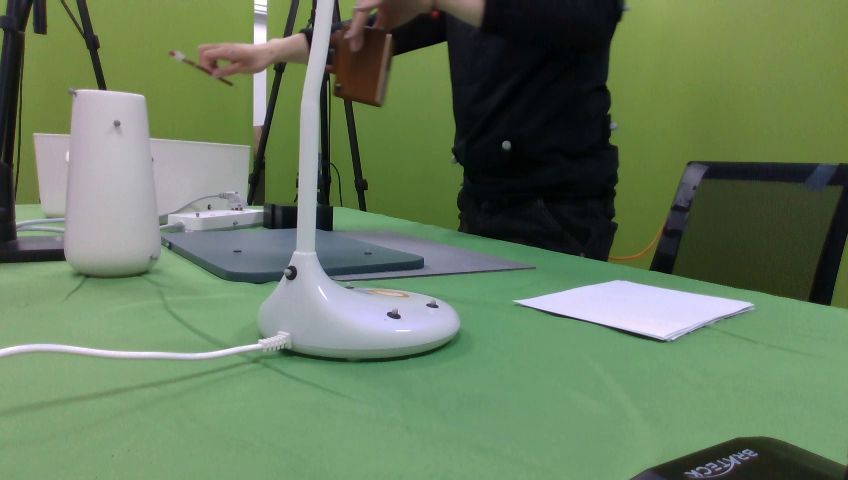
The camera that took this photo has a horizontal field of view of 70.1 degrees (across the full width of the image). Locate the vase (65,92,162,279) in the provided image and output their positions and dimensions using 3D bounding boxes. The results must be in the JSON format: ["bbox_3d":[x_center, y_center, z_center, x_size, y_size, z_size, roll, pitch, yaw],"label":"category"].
[{"bbox_3d":[-0.347,-0.060,0.673,0.098,0.200,0.098,1,7,0],"label":"vase"}]

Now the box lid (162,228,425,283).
[{"bbox_3d":[-0.200,0.014,0.861,0.265,0.015,0.369,-3,9,-35],"label":"box lid"}]

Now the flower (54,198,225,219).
[{"bbox_3d":[-0.574,-0.059,1.267,0.044,0.038,0.364,29,17,33],"label":"flower"}]

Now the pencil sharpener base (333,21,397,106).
[{"bbox_3d":[-0.090,-0.261,0.900,0.077,0.107,0.061,13,11,3],"label":"pencil sharpener base"}]

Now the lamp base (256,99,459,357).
[{"bbox_3d":[-0.055,-0.014,0.463,0.160,0.180,0.180,6,11,27],"label":"lamp base"}]

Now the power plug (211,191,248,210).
[{"bbox_3d":[-0.384,-0.071,1.206,0.072,0.052,0.035,2,9,28],"label":"power plug"}]

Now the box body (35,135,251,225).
[{"bbox_3d":[-0.559,-0.127,1.257,0.253,0.160,0.365,4,8,15],"label":"box body"}]

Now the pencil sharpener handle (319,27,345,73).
[{"bbox_3d":[-0.137,-0.285,0.901,0.030,0.067,0.036,13,18,3],"label":"pencil sharpener handle"}]

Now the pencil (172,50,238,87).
[{"bbox_3d":[-0.422,-0.331,1.184,0.012,0.012,0.195,5,-4,19],"label":"pencil"}]

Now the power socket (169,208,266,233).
[{"bbox_3d":[-0.379,-0.038,1.129,0.072,0.032,0.227,4,8,18],"label":"power socket"}]
